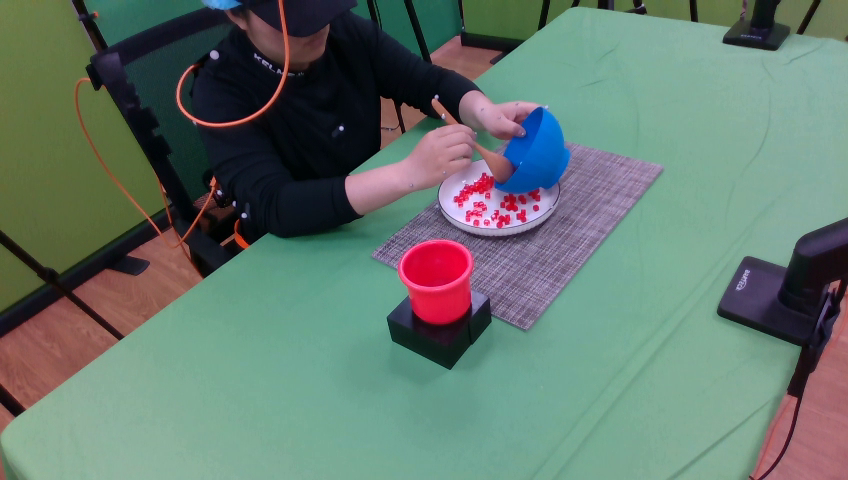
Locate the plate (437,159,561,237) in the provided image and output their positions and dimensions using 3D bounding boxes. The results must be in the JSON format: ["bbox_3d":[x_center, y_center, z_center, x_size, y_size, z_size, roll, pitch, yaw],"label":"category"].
[{"bbox_3d":[0.127,-0.069,1.023,0.207,0.039,0.206,-5,40,5],"label":"plate"}]

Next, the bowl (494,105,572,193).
[{"bbox_3d":[0.185,-0.133,0.979,0.077,0.151,0.151,27,42,-10],"label":"bowl"}]

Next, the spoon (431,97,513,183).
[{"bbox_3d":[0.078,-0.159,0.972,0.041,0.195,0.021,-55,22,-9],"label":"spoon"}]
